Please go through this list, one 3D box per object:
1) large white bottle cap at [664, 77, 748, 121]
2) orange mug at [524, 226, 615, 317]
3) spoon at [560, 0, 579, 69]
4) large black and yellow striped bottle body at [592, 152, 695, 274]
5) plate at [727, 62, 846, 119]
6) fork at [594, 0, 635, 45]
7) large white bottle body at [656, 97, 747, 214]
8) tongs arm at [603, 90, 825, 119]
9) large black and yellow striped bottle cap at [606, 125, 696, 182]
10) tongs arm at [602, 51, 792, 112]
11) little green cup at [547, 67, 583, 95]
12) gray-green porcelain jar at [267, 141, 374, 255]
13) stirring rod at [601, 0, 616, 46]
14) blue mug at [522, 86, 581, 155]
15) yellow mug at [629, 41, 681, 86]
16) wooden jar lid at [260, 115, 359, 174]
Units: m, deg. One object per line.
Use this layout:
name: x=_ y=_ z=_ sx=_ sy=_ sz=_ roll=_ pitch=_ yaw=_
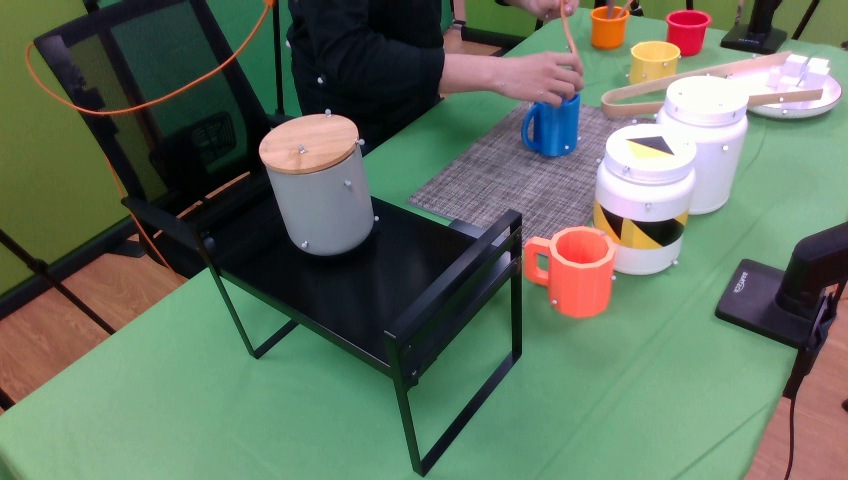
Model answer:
large white bottle cap: x=0.421 y=-0.212 z=0.905 sx=0.115 sy=0.018 sz=0.114 roll=-4 pitch=40 yaw=4
orange mug: x=0.201 y=0.039 z=0.845 sx=0.125 sy=0.101 sz=0.083 roll=18 pitch=46 yaw=21
spoon: x=0.241 y=-0.366 z=1.019 sx=0.021 sy=0.194 sz=0.042 roll=-9 pitch=10 yaw=15
large black and yellow striped bottle body: x=0.313 y=-0.056 z=0.872 sx=0.131 sy=0.185 sz=0.130 roll=-4 pitch=41 yaw=4
plate: x=0.709 y=-0.292 z=1.198 sx=0.207 sy=0.039 sz=0.206 roll=-4 pitch=40 yaw=4
fork: x=0.484 y=-0.552 z=1.447 sx=0.207 sy=0.019 sz=0.028 roll=-51 pitch=46 yaw=17
large white bottle body: x=0.431 y=-0.148 z=0.959 sx=0.130 sy=0.185 sz=0.130 roll=-4 pitch=41 yaw=4
tongs arm: x=0.546 y=-0.262 z=1.162 sx=0.386 sy=0.028 sz=0.028 roll=-1 pitch=49 yaw=18
large black and yellow striped bottle cap: x=0.305 y=-0.119 z=0.816 sx=0.115 sy=0.019 sz=0.114 roll=-5 pitch=41 yaw=5
tongs arm: x=0.552 y=-0.319 z=1.224 sx=0.384 sy=0.027 sz=0.050 roll=-10 pitch=43 yaw=7
little green cup: x=0.239 y=-0.270 z=1.034 sx=0.061 sy=0.038 sz=0.061 roll=5 pitch=6 yaw=0
gray-green porcelain jar: x=-0.117 y=-0.054 z=0.703 sx=0.106 sy=0.127 sz=0.105 roll=-4 pitch=40 yaw=4
stirring rod: x=0.452 y=-0.554 z=1.464 sx=0.014 sy=0.006 sz=0.176 roll=11 pitch=86 yaw=15
blue mug: x=0.234 y=-0.219 z=1.127 sx=0.117 sy=0.106 sz=0.081 roll=-21 pitch=42 yaw=-15
yellow mug: x=0.495 y=-0.389 z=1.321 sx=0.100 sy=0.064 sz=0.130 roll=-14 pitch=40 yaw=-6
wooden jar lid: x=-0.124 y=-0.101 z=0.662 sx=0.108 sy=0.021 sz=0.108 roll=-4 pitch=41 yaw=4
